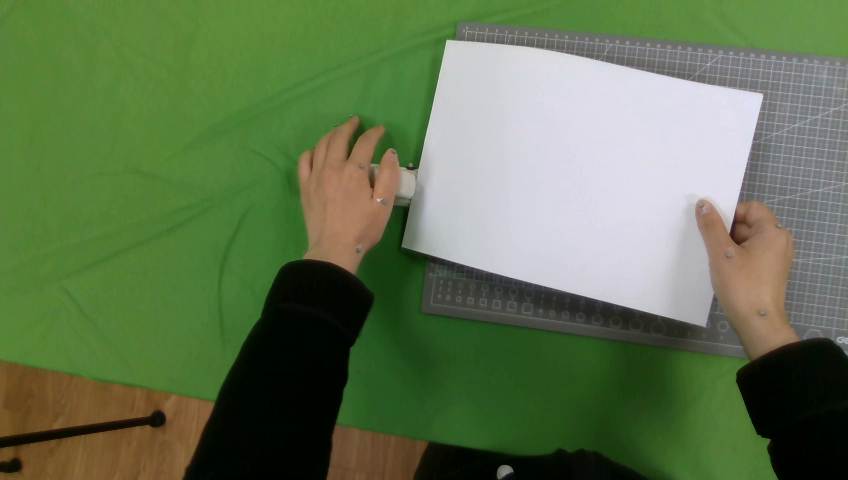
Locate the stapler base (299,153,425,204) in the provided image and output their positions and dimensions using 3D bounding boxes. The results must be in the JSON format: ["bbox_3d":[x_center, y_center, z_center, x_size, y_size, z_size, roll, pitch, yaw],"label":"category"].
[{"bbox_3d":[-0.066,-0.064,0.617,0.130,0.024,0.041,7,87,7],"label":"stapler base"}]

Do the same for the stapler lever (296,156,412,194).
[{"bbox_3d":[-0.070,-0.064,0.593,0.118,0.040,0.027,7,87,6],"label":"stapler lever"}]
